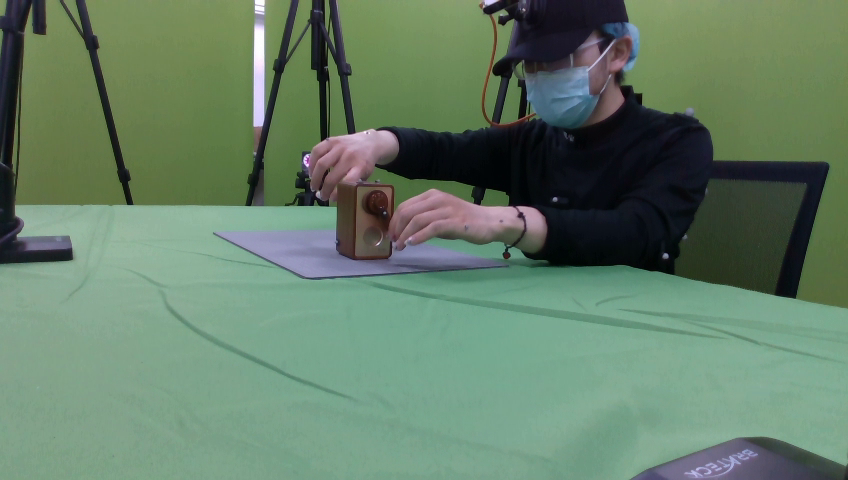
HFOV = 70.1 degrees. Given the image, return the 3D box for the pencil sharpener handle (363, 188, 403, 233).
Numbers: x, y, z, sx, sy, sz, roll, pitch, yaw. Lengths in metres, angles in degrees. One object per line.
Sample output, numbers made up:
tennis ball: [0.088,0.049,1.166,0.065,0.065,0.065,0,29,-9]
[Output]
pencil sharpener handle: [-0.051,-0.038,0.813,0.036,0.068,0.030,-39,24,-18]

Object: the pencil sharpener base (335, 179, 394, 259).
pencil sharpener base: [-0.084,-0.030,0.855,0.061,0.107,0.076,-1,8,-29]

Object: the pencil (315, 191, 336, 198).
pencil: [-0.135,-0.069,0.946,0.012,0.012,0.193,-2,7,-30]
